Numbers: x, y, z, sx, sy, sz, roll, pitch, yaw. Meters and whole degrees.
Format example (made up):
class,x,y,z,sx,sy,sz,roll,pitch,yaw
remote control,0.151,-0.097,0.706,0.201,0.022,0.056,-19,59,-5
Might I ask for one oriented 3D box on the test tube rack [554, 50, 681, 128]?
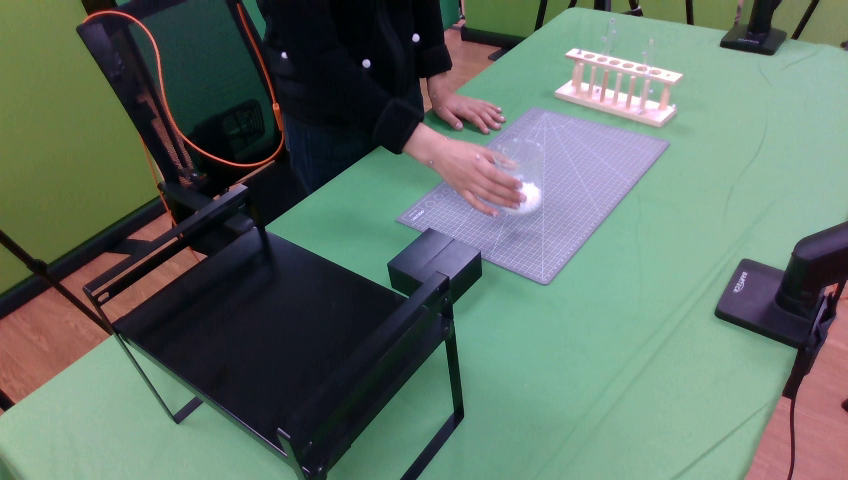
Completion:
class,x,y,z,sx,sy,sz,roll,pitch,yaw
test tube rack,0.387,-0.311,1.234,0.240,0.085,0.067,28,52,34

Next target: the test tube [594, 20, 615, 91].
class,x,y,z,sx,sy,sz,roll,pitch,yaw
test tube,0.366,-0.372,1.233,0.017,0.151,0.017,0,43,0

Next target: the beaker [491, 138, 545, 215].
class,x,y,z,sx,sy,sz,roll,pitch,yaw
beaker,0.149,-0.096,0.929,0.084,0.101,0.073,-20,41,-10

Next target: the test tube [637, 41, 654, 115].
class,x,y,z,sx,sy,sz,roll,pitch,yaw
test tube,0.423,-0.307,1.154,0.017,0.151,0.017,-5,41,5
